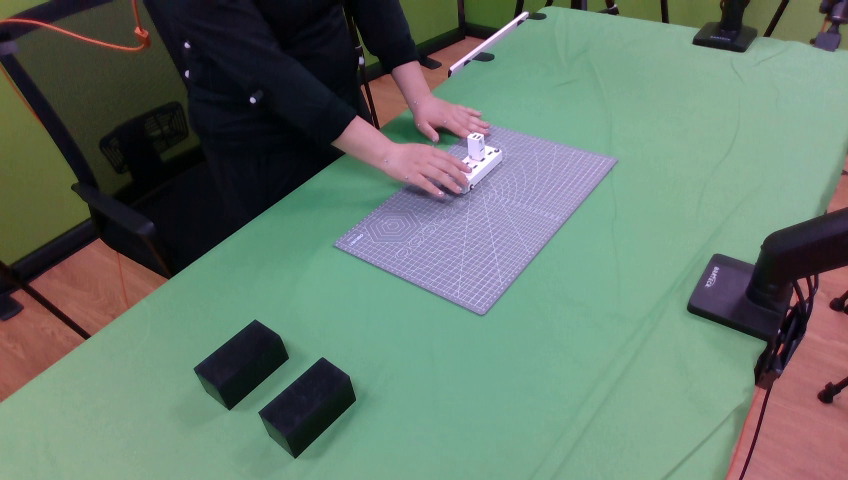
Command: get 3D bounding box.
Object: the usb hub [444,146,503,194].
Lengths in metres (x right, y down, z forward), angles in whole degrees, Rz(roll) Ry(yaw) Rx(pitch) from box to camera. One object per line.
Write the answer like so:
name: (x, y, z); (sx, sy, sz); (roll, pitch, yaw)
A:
usb hub: (0.091, -0.129, 1.102); (0.049, 0.025, 0.125); (23, 49, 30)

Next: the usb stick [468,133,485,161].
usb stick: (0.095, -0.162, 1.096); (0.027, 0.059, 0.021); (21, 48, 27)
